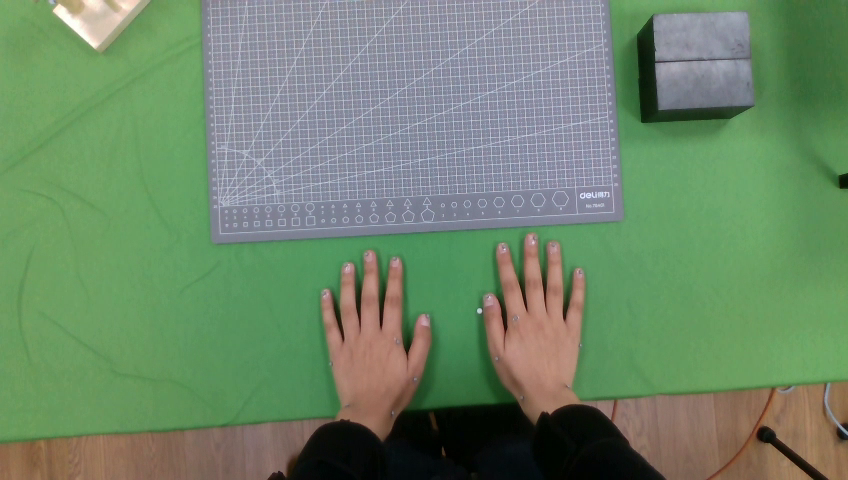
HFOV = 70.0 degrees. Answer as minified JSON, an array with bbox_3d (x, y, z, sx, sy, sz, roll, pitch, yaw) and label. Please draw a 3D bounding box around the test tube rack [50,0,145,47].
[{"bbox_3d":[-0.302,-0.326,0.633,0.066,0.085,0.242,42,88,2],"label":"test tube rack"}]
